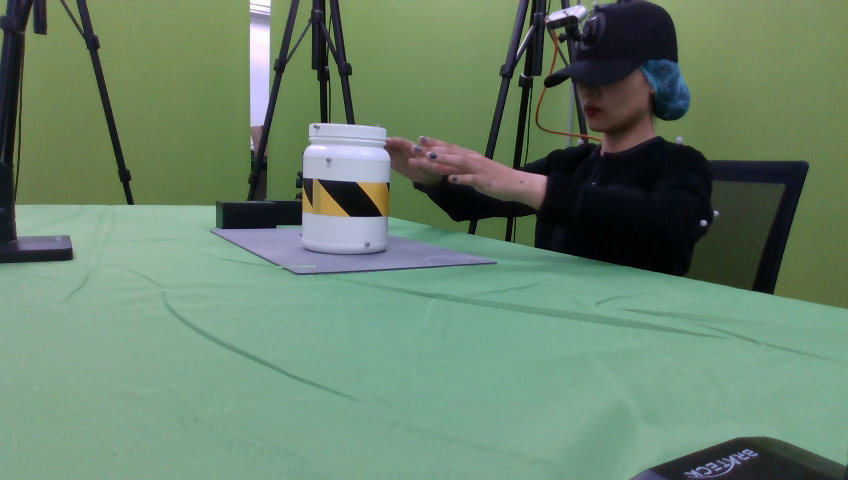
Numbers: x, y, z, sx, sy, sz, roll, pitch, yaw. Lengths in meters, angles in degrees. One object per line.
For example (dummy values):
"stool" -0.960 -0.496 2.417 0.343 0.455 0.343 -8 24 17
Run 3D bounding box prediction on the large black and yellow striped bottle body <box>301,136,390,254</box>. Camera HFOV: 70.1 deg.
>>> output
"large black and yellow striped bottle body" -0.118 -0.077 0.912 0.131 0.184 0.130 3 8 0

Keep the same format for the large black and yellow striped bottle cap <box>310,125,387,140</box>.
"large black and yellow striped bottle cap" -0.112 -0.160 0.901 0.115 0.019 0.115 1 8 0
